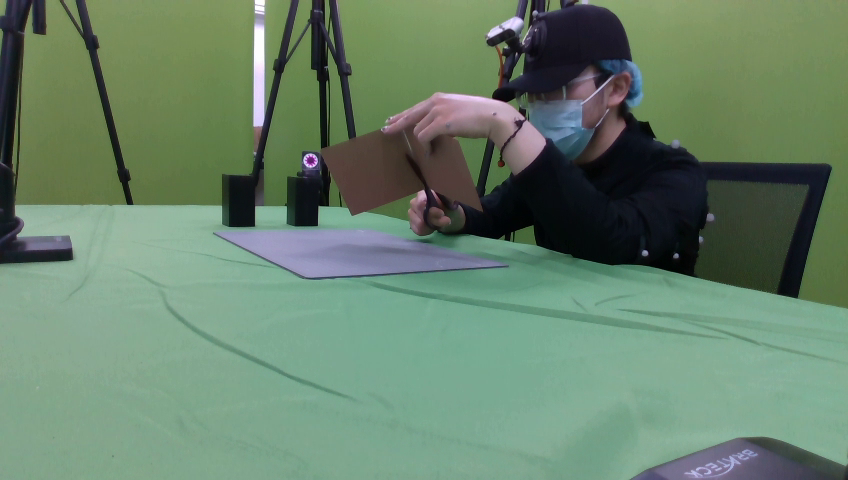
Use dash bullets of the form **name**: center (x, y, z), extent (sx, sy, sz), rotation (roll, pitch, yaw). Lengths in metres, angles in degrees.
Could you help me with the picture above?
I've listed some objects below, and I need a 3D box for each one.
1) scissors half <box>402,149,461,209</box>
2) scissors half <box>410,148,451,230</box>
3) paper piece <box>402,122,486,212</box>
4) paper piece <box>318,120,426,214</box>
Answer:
- **scissors half**: center (0.014, -0.104, 1.020), extent (0.013, 0.040, 0.176), rotation (0, -25, 38)
- **scissors half**: center (0.004, -0.087, 1.010), extent (0.012, 0.175, 0.040), rotation (5, 41, 41)
- **paper piece**: center (0.030, -0.112, 0.920), extent (0.008, 0.136, 0.137), rotation (-44, 43, -21)
- **paper piece**: center (-0.080, -0.114, 0.975), extent (0.135, 0.136, 0.004), rotation (-19, 34, 6)
